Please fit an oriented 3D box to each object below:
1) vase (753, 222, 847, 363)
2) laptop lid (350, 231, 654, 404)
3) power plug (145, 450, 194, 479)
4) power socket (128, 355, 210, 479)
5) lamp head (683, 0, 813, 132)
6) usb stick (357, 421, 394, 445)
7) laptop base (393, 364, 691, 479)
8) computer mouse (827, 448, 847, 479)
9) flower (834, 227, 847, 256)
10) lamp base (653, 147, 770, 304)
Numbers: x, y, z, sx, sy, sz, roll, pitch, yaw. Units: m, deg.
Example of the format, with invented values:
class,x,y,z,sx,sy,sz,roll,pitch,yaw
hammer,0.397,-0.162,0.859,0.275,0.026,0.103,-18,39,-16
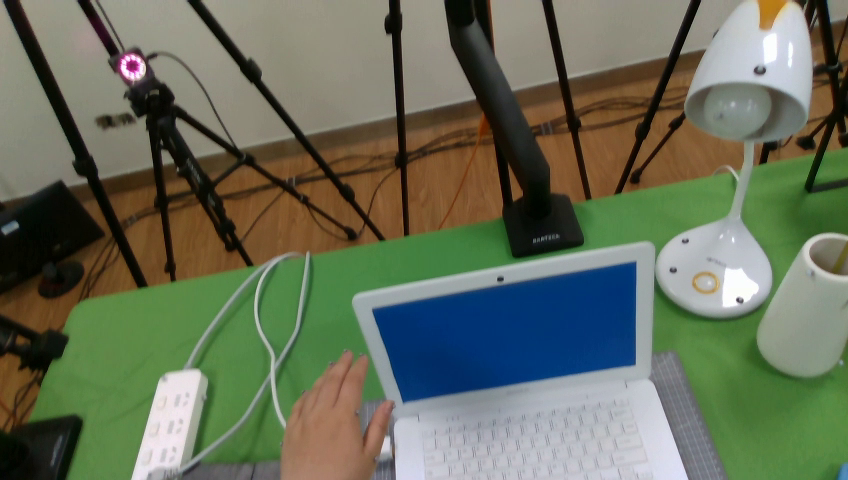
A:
class,x,y,z,sx,sy,sz,roll,pitch,yaw
vase,0.472,0.067,0.742,0.098,0.202,0.097,-8,48,9
laptop lid,0.106,0.108,0.757,0.356,0.244,0.013,-12,38,5
power plug,-0.341,0.307,0.816,0.072,0.053,0.035,3,49,13
power socket,-0.369,0.267,0.883,0.072,0.033,0.224,-7,48,6
lamp head,0.328,-0.182,0.602,0.112,0.113,0.122,14,72,24
usb stick,-0.058,0.258,0.809,0.059,0.027,0.021,-6,46,3
laptop base,0.139,0.287,0.753,0.354,0.023,0.233,-10,51,5
computer mouse,0.475,0.282,0.663,0.062,0.041,0.117,24,54,33
flower,0.472,0.005,0.685,0.038,0.364,0.043,-10,37,-17
lamp base,0.418,-0.030,0.852,0.159,0.182,0.178,17,53,26
